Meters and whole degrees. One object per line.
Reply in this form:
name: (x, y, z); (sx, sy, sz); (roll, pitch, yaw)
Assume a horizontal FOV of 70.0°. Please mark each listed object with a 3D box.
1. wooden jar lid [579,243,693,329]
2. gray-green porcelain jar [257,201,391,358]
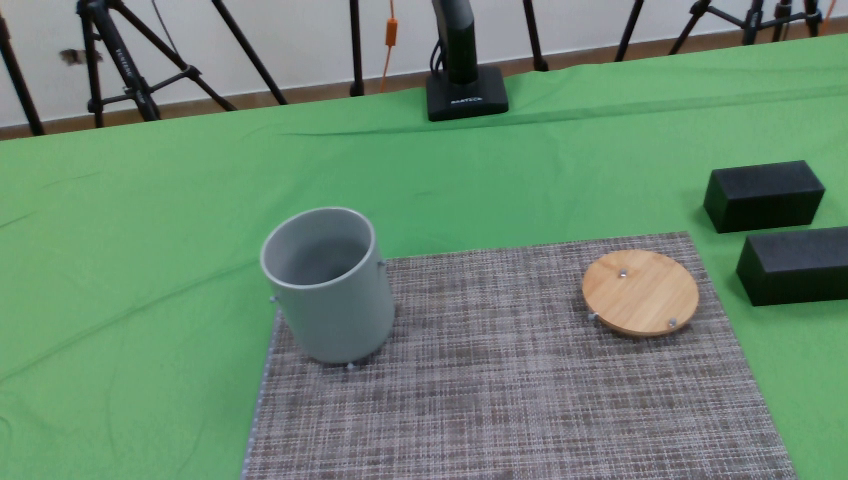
wooden jar lid: (0.210, 0.047, 0.605); (0.108, 0.021, 0.107); (-5, 46, 6)
gray-green porcelain jar: (-0.090, 0.043, 0.584); (0.106, 0.128, 0.105); (-5, 45, 5)
